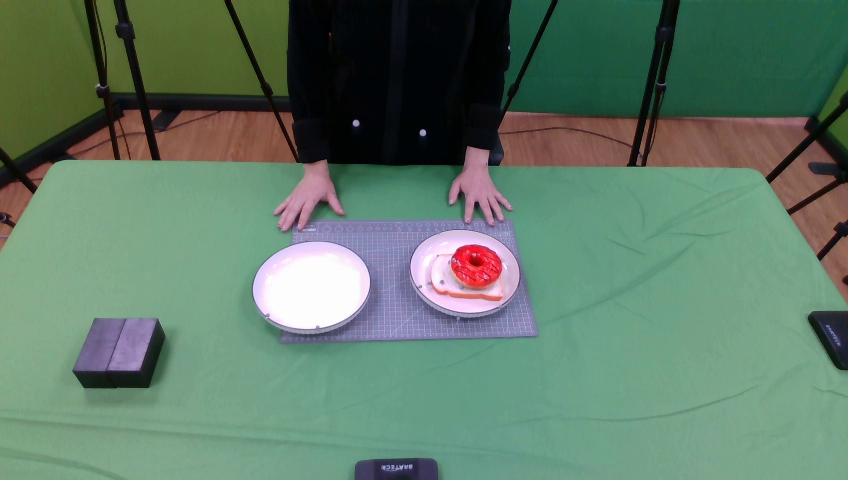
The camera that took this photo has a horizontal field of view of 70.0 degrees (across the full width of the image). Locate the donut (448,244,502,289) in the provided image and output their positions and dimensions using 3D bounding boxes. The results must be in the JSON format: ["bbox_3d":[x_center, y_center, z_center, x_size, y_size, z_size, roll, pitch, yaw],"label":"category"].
[{"bbox_3d":[0.092,0.048,1.105,0.099,0.048,0.098,3,45,-3],"label":"donut"}]

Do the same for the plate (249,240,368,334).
[{"bbox_3d":[-0.204,0.086,1.084,0.208,0.039,0.206,2,46,-2],"label":"plate"}]

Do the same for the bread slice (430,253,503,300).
[{"bbox_3d":[0.078,0.066,1.125,0.134,0.018,0.106,0,45,-2],"label":"bread slice"}]

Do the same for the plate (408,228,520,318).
[{"bbox_3d":[0.074,0.063,1.128,0.209,0.038,0.208,2,46,-2],"label":"plate"}]
